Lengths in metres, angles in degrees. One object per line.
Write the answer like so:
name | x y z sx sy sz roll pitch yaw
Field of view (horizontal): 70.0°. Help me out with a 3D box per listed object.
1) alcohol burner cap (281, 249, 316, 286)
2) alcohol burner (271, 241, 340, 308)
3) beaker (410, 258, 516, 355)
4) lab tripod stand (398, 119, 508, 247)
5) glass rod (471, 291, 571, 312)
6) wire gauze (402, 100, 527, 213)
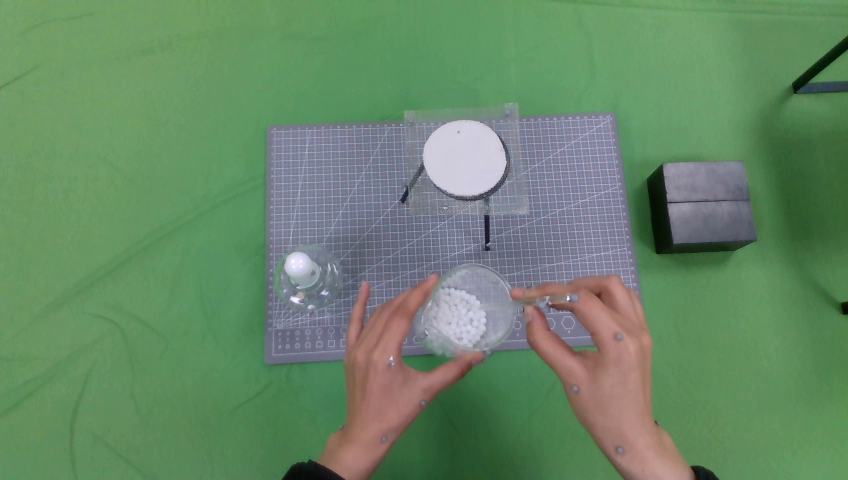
alcohol burner cap | -0.133 0.027 0.633 0.034 0.048 0.033 0 70 0
alcohol burner | -0.133 0.035 0.668 0.078 0.119 0.077 1 77 -3
beaker | 0.027 0.065 0.542 0.084 0.100 0.073 -15 78 -15
lab tripod stand | 0.042 -0.073 0.692 0.148 0.132 0.147 0 74 -1
glass rod | 0.070 0.052 0.489 0.008 0.199 0.008 2 81 -14
wire gauze | 0.041 -0.086 0.626 0.125 0.011 0.121 -2 76 -3
